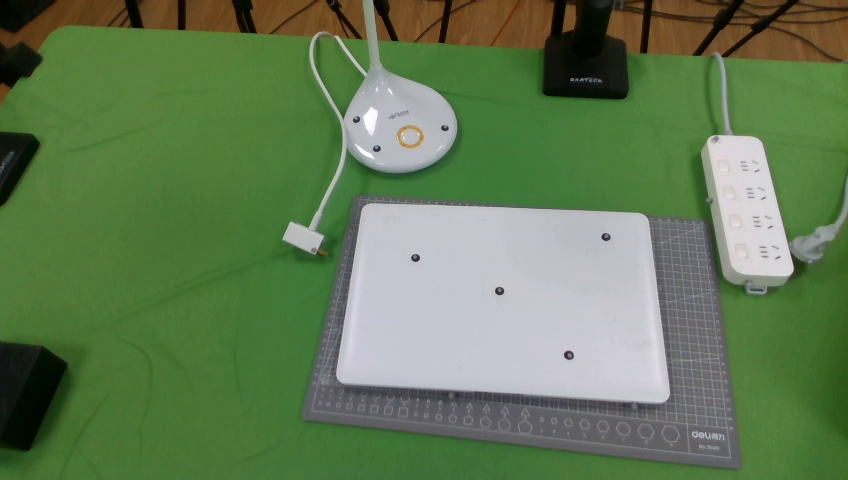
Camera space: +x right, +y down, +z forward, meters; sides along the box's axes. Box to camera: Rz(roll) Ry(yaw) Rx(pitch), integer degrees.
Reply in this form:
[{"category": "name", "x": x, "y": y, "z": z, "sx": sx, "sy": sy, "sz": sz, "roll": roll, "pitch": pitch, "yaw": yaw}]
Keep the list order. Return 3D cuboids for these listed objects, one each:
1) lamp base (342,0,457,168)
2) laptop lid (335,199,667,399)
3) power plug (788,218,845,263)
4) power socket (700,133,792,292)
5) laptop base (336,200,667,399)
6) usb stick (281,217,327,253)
[{"category": "lamp base", "x": -0.046, "y": -0.213, "z": 0.783, "sx": 0.160, "sy": 0.182, "sz": 0.177, "roll": -29, "pitch": 59, "yaw": -15}, {"category": "laptop lid", "x": 0.086, "y": 0.057, "z": 0.691, "sx": 0.356, "sy": 0.013, "sz": 0.239, "roll": 4, "pitch": 61, "yaw": 5}, {"category": "power plug", "x": 0.458, "y": 0.005, "z": 0.705, "sx": 0.073, "sy": 0.053, "sz": 0.035, "roll": -6, "pitch": 53, "yaw": -19}, {"category": "power socket", "x": 0.391, "y": -0.044, "z": 0.743, "sx": 0.072, "sy": 0.033, "sz": 0.225, "roll": 4, "pitch": 59, "yaw": 4}, {"category": "laptop base", "x": 0.087, "y": 0.061, "z": 0.703, "sx": 0.354, "sy": 0.023, "sz": 0.233, "roll": 2, "pitch": 62, "yaw": 4}, {"category": "usb stick", "x": -0.143, "y": -0.004, "z": 0.744, "sx": 0.059, "sy": 0.021, "sz": 0.027, "roll": 29, "pitch": 92, "yaw": -7}]
